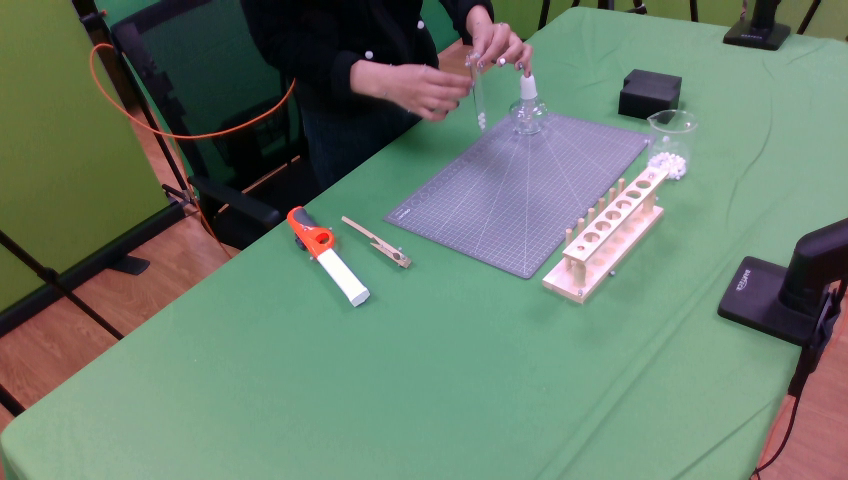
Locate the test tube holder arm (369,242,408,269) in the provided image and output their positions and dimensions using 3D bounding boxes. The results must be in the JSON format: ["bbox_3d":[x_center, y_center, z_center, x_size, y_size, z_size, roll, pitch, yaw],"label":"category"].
[{"bbox_3d":[-0.057,0.021,0.971,0.087,0.015,0.010,34,87,40],"label":"test tube holder arm"}]

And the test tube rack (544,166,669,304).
[{"bbox_3d":[0.274,-0.018,0.903,0.066,0.085,0.243,26,51,35],"label":"test tube rack"}]

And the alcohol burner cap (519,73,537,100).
[{"bbox_3d":[0.198,-0.298,1.163,0.034,0.048,0.033,-9,37,7],"label":"alcohol burner cap"}]

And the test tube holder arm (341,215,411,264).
[{"bbox_3d":[-0.083,-0.002,1.000,0.177,0.015,0.013,33,86,40],"label":"test tube holder arm"}]

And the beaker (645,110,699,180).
[{"bbox_3d":[0.417,-0.160,1.032,0.083,0.101,0.074,25,51,34],"label":"beaker"}]

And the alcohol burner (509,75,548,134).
[{"bbox_3d":[0.204,-0.270,1.186,0.078,0.119,0.077,-5,42,5],"label":"alcohol burner"}]

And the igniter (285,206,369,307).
[{"bbox_3d":[-0.166,0.018,0.986,0.057,0.025,0.274,-34,45,-12],"label":"igniter"}]

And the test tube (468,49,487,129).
[{"bbox_3d":[0.091,-0.250,1.015,0.017,0.151,0.017,-7,46,7],"label":"test tube"}]
